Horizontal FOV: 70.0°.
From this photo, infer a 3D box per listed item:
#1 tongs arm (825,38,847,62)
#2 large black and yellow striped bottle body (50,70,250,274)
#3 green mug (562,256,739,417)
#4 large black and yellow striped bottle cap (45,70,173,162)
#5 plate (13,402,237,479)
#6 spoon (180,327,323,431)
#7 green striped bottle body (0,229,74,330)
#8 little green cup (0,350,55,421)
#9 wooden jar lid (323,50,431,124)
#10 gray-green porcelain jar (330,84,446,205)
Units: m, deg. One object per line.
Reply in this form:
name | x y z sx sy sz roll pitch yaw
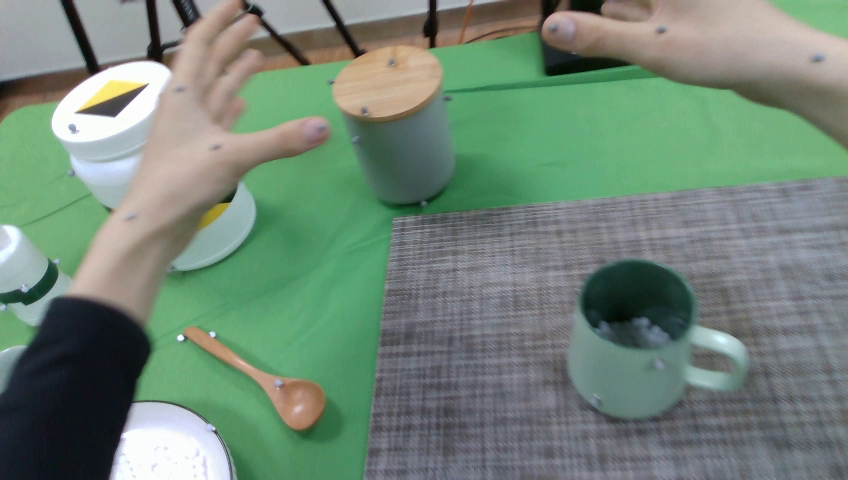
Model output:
tongs arm | 0.594 -0.158 0.570 0.384 0.028 0.028 25 54 40
large black and yellow striped bottle body | -0.276 -0.066 0.625 0.130 0.186 0.129 -6 50 8
green mug | 0.167 0.078 0.453 0.124 0.106 0.092 13 54 22
large black and yellow striped bottle cap | -0.291 -0.117 0.561 0.115 0.019 0.114 -7 48 8
plate | -0.241 0.229 0.469 0.209 0.038 0.207 -6 50 8
spoon | -0.163 0.118 0.554 0.192 0.022 0.041 23 79 27
green striped bottle body | -0.422 0.036 0.617 0.063 0.120 0.062 -7 49 8
little green cup | -0.389 0.140 0.576 0.061 0.039 0.061 -6 49 8
wooden jar lid | -0.045 -0.148 0.598 0.108 0.021 0.107 -6 53 8
gray-green porcelain jar | -0.034 -0.108 0.645 0.106 0.128 0.105 -6 50 8
